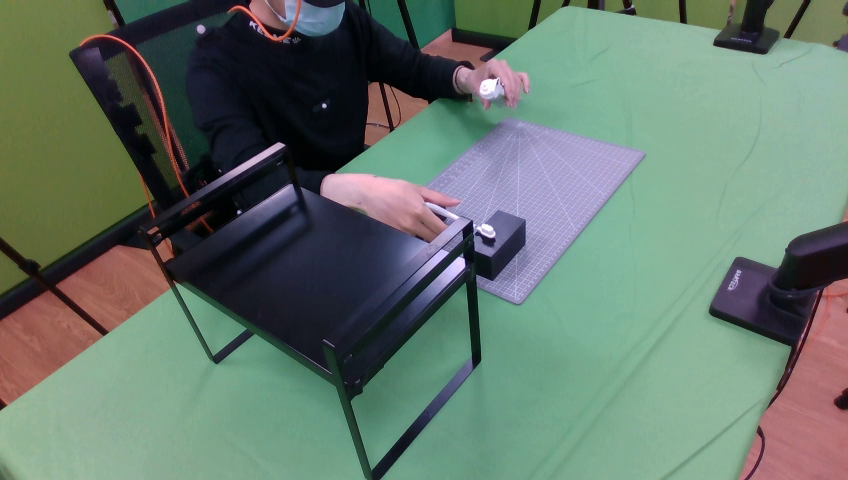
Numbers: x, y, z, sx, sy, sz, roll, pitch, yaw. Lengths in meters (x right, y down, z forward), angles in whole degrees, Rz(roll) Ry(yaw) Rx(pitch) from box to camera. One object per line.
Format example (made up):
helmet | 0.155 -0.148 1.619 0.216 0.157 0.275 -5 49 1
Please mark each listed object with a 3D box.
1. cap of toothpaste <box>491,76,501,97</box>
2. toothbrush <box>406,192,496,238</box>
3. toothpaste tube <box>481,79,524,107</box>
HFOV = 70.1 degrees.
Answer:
cap of toothpaste | 0.125 -0.269 1.057 0.011 0.037 0.037 14 44 15
toothbrush | 0.037 -0.043 0.936 0.180 0.017 0.014 26 63 34
toothpaste tube | 0.145 -0.277 1.146 0.055 0.034 0.166 -10 -1 23
